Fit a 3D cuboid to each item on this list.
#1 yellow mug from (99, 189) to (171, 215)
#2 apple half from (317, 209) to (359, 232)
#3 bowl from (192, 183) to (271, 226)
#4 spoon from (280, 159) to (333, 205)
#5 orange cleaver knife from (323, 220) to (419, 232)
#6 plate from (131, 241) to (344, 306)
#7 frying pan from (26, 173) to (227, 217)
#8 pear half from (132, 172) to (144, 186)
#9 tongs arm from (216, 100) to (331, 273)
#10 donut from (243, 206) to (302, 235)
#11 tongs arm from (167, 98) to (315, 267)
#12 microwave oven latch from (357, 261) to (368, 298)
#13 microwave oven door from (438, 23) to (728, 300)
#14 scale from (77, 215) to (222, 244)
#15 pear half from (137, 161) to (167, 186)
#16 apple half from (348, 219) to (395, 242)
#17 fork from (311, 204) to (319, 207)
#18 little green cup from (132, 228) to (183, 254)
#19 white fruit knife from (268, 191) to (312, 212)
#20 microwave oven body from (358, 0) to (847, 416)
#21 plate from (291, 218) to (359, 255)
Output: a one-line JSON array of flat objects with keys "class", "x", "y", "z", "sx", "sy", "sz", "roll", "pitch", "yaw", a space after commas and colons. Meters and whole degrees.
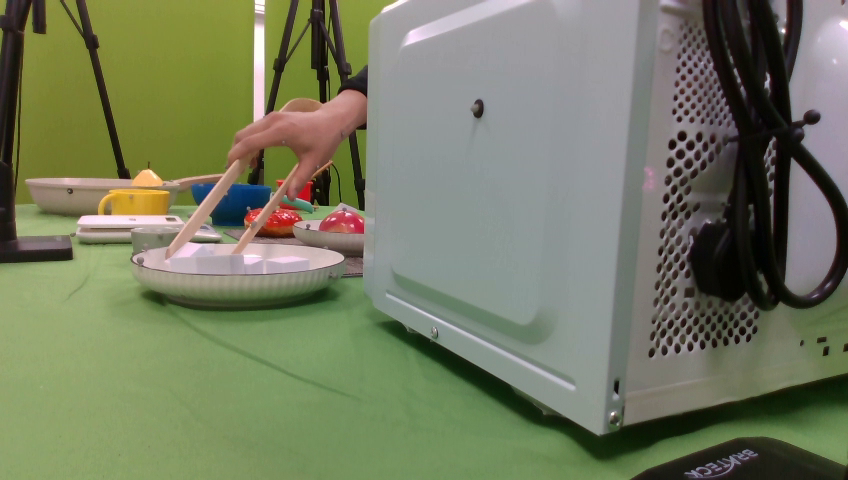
[{"class": "yellow mug", "x": -0.519, "y": -0.055, "z": 1.080, "sx": 0.099, "sy": 0.064, "sz": 0.131, "roll": 7, "pitch": 9, "yaw": 26}, {"class": "apple half", "x": -0.121, "y": -0.020, "z": 0.900, "sx": 0.080, "sy": 0.053, "sz": 0.075, "roll": 4, "pitch": 10, "yaw": 14}, {"class": "bowl", "x": -0.382, "y": -0.071, "z": 1.202, "sx": 0.151, "sy": 0.077, "sz": 0.151, "roll": 3, "pitch": 7, "yaw": 0}, {"class": "spoon", "x": -0.317, "y": -0.159, "z": 1.640, "sx": 0.194, "sy": 0.022, "sz": 0.041, "roll": -49, "pitch": 32, "yaw": -20}, {"class": "orange cleaver knife", "x": -0.097, "y": -0.027, "z": 1.152, "sx": 0.077, "sy": 0.012, "sz": 0.212, "roll": 2, "pitch": 7, "yaw": 41}, {"class": "plate", "x": -0.187, "y": 0.033, "z": 0.625, "sx": 0.208, "sy": 0.039, "sz": 0.207, "roll": 2, "pitch": 7, "yaw": 0}, {"class": "frying pan", "x": -0.624, "y": -0.118, "z": 1.387, "sx": 0.305, "sy": 0.102, "sz": 0.490, "roll": 8, "pitch": 17, "yaw": 32}, {"class": "pear half", "x": -0.638, "y": -0.113, "z": 1.361, "sx": 0.031, "sy": 0.088, "sz": 0.070, "roll": 5, "pitch": 11, "yaw": 4}, {"class": "tongs arm", "x": -0.184, "y": -0.082, "z": 0.754, "sx": 0.051, "sy": 0.026, "sz": 0.385, "roll": 20, "pitch": 37, "yaw": 1}, {"class": "donut", "x": -0.261, "y": -0.032, "z": 1.043, "sx": 0.099, "sy": 0.048, "sz": 0.099, "roll": 4, "pitch": 9, "yaw": 0}, {"class": "tongs arm", "x": -0.214, "y": -0.093, "z": 0.752, "sx": 0.028, "sy": 0.028, "sz": 0.387, "roll": 16, "pitch": 37, "yaw": 1}, {"class": "microwave oven latch", "x": -0.019, "y": 0.033, "z": 0.530, "sx": 0.079, "sy": 0.029, "sz": 0.030, "roll": -1, "pitch": 7, "yaw": -26}, {"class": "microwave oven door", "x": 0.181, "y": -0.073, "z": 0.621, "sx": 0.358, "sy": 0.243, "sz": 0.039, "roll": -2, "pitch": 8, "yaw": -29}, {"class": "scale", "x": -0.434, "y": -0.019, "z": 0.963, "sx": 0.202, "sy": 0.031, "sz": 0.148, "roll": -1, "pitch": 9, "yaw": -27}, {"class": "pear half", "x": -0.602, "y": -0.120, "z": 1.354, "sx": 0.056, "sy": 0.110, "sz": 0.076, "roll": 4, "pitch": 11, "yaw": 6}, {"class": "apple half", "x": -0.083, "y": -0.018, "z": 0.966, "sx": 0.081, "sy": 0.033, "sz": 0.081, "roll": 6, "pitch": 10, "yaw": -1}, {"class": "fork", "x": -0.356, "y": -0.105, "z": 1.526, "sx": 0.208, "sy": 0.018, "sz": 0.028, "roll": 16, "pitch": -5, "yaw": -41}, {"class": "little green cup", "x": -0.342, "y": 0.006, "z": 0.779, "sx": 0.061, "sy": 0.038, "sz": 0.061, "roll": 2, "pitch": 8, "yaw": 0}, {"class": "white fruit knife", "x": -0.364, "y": -0.105, "z": 1.464, "sx": 0.208, "sy": 0.027, "sz": 0.016, "roll": 15, "pitch": 0, "yaw": -34}, {"class": "microwave oven body", "x": 0.211, "y": -0.047, "z": 0.474, "sx": 0.444, "sy": 0.260, "sz": 0.324, "roll": -1, "pitch": 7, "yaw": -28}, {"class": "plate", "x": -0.098, "y": -0.007, "z": 0.928, "sx": 0.209, "sy": 0.038, "sz": 0.209, "roll": 2, "pitch": 8, "yaw": 0}]
